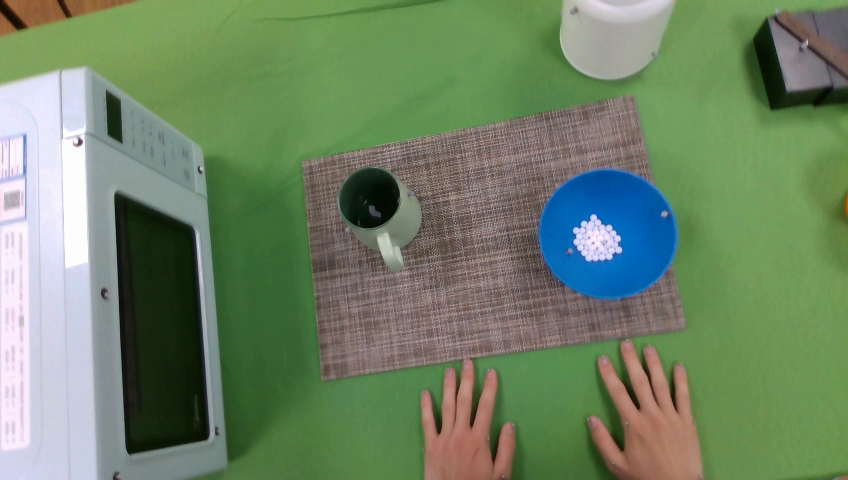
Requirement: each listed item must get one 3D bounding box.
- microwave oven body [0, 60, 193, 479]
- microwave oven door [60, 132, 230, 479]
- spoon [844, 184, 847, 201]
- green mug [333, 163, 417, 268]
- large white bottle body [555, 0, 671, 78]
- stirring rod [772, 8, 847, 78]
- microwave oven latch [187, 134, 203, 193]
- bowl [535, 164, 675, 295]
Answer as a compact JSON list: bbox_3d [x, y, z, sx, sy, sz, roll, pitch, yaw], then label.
[{"bbox_3d":[-0.453,0.076,0.707,0.326,0.261,0.439,-11,78,6],"label":"microwave oven body"},{"bbox_3d":[-0.304,0.088,0.676,0.039,0.245,0.354,-12,77,7],"label":"microwave oven door"},{"bbox_3d":[0.550,-0.044,0.635,0.022,0.192,0.041,35,79,-30],"label":"spoon"},{"bbox_3d":[-0.055,-0.026,0.745,0.092,0.105,0.124,-18,76,4],"label":"green mug"},{"bbox_3d":[0.225,-0.291,0.716,0.130,0.185,0.130,-2,78,9],"label":"large white bottle body"},{"bbox_3d":[0.474,-0.209,0.698,0.175,0.006,0.014,48,123,14],"label":"stirring rod"},{"bbox_3d":[-0.321,-0.102,0.821,0.030,0.029,0.079,-11,78,6],"label":"microwave oven latch"},{"bbox_3d":[0.206,-0.005,0.713,0.151,0.077,0.150,-2,78,9],"label":"bowl"}]
